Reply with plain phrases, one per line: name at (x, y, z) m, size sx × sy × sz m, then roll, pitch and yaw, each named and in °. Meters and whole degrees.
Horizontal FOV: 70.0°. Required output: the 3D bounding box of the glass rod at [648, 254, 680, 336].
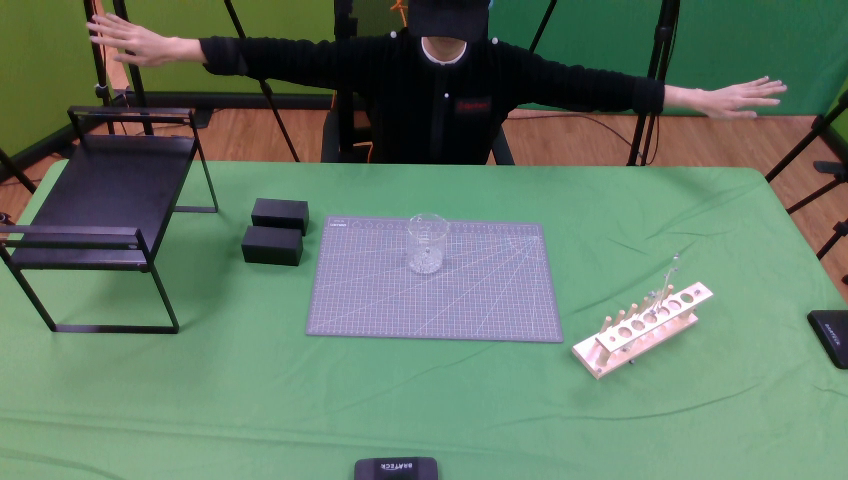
glass rod at (0.391, 0.094, 0.991) m, size 0.008 × 0.201 × 0.008 m, roll -2°, pitch 44°, yaw 2°

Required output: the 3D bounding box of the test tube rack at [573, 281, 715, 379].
test tube rack at (0.378, 0.140, 1.038) m, size 0.242 × 0.085 × 0.066 m, roll -22°, pitch 51°, yaw -23°

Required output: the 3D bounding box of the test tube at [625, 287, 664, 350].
test tube at (0.354, 0.130, 0.978) m, size 0.017 × 0.151 × 0.017 m, roll 3°, pitch 43°, yaw -3°

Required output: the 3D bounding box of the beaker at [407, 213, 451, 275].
beaker at (0.008, 0.009, 1.129) m, size 0.084 × 0.101 × 0.073 m, roll -11°, pitch 48°, yaw -15°
